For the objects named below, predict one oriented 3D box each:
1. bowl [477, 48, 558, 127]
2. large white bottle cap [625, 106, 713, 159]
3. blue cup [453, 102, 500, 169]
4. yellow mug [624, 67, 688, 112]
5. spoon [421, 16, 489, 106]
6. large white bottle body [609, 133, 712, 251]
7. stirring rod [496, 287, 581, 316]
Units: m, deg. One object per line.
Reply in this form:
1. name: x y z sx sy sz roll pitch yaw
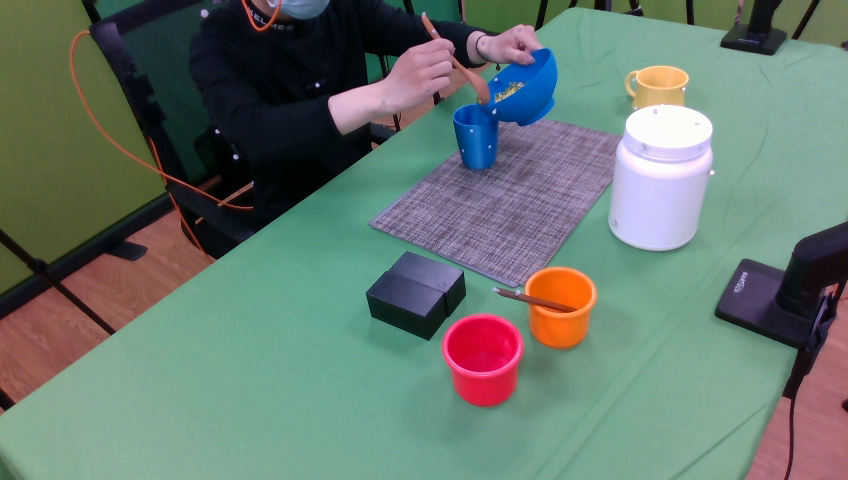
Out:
1. bowl: 0.173 -0.249 1.038 0.151 0.077 0.150 -33 26 19
2. large white bottle cap: 0.342 -0.153 0.848 0.115 0.018 0.114 -4 41 4
3. blue cup: 0.100 -0.188 1.115 0.092 0.100 0.092 -4 39 4
4. yellow mug: 0.464 -0.306 1.230 0.100 0.064 0.129 -34 46 -27
5. spoon: 0.055 -0.296 1.007 0.021 0.195 0.041 -16 46 41
6. large white bottle body: 0.351 -0.090 0.904 0.130 0.185 0.130 -5 41 4
7. stirring rod: 0.150 0.080 0.773 0.178 0.006 0.014 17 21 -42
